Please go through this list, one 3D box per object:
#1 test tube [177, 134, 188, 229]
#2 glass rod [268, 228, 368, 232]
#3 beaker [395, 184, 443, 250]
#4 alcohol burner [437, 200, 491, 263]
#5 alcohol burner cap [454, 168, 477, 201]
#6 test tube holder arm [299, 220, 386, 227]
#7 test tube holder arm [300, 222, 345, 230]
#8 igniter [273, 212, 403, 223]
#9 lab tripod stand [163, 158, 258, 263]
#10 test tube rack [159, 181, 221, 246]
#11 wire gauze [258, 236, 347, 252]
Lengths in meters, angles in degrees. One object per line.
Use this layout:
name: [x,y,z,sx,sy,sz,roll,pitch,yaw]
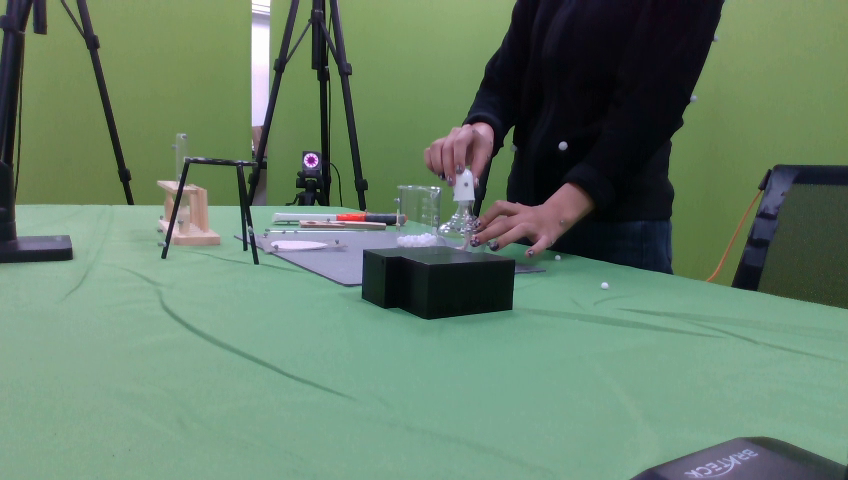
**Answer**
test tube: [-0.374,-0.089,0.938,0.017,0.150,0.017,2,4,0]
glass rod: [-0.193,-0.018,1.128,0.201,0.008,0.008,0,7,-35]
beaker: [-0.007,-0.037,0.965,0.074,0.100,0.083,-4,10,-39]
alcohol burner: [0.058,-0.028,0.854,0.078,0.119,0.078,3,10,0]
alcohol burner cap: [0.057,-0.077,0.848,0.034,0.048,0.034,-3,6,1]
test tube holder arm: [-0.159,-0.032,1.196,0.179,0.015,0.013,-1,44,-29]
test tube holder arm: [-0.196,-0.027,1.170,0.088,0.015,0.010,-1,43,-29]
igniter: [-0.179,-0.048,1.290,0.278,0.025,0.057,-1,-2,-24]
lab tripod stand: [-0.265,-0.041,0.802,0.148,0.131,0.148,4,7,0]
test tube rack: [-0.395,-0.050,1.010,0.067,0.085,0.241,-2,9,-28]
wire gauze: [-0.189,0.005,0.931,0.122,0.011,0.124,1,7,-21]
